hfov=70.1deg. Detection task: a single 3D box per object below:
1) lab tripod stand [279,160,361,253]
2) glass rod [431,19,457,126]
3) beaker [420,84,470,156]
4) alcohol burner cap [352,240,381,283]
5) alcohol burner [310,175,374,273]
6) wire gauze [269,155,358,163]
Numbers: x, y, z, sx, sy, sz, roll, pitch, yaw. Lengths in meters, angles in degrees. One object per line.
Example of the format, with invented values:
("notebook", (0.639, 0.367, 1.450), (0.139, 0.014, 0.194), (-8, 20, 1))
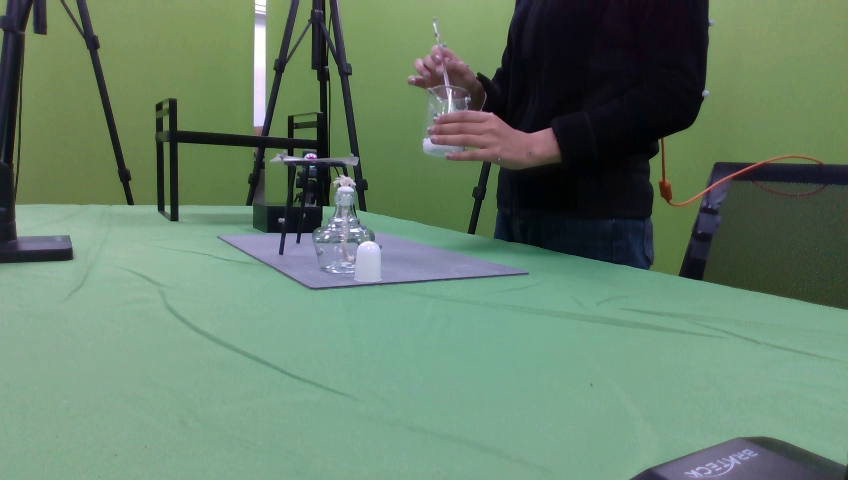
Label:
("lab tripod stand", (-0.166, -0.052, 0.897), (0.148, 0.131, 0.148), (0, 7, 0))
("glass rod", (0.033, -0.276, 0.987), (0.008, 0.199, 0.008), (-10, -16, -3))
("beaker", (0.030, -0.190, 0.962), (0.073, 0.100, 0.084), (2, -3, 35))
("alcohol burner cap", (-0.065, 0.023, 0.690), (0.034, 0.048, 0.034), (2, 8, 0))
("alcohol burner", (-0.100, -0.020, 0.741), (0.078, 0.119, 0.078), (1, 6, 0))
("wire gauze", (-0.159, -0.118, 0.886), (0.122, 0.011, 0.125), (1, 7, -9))
